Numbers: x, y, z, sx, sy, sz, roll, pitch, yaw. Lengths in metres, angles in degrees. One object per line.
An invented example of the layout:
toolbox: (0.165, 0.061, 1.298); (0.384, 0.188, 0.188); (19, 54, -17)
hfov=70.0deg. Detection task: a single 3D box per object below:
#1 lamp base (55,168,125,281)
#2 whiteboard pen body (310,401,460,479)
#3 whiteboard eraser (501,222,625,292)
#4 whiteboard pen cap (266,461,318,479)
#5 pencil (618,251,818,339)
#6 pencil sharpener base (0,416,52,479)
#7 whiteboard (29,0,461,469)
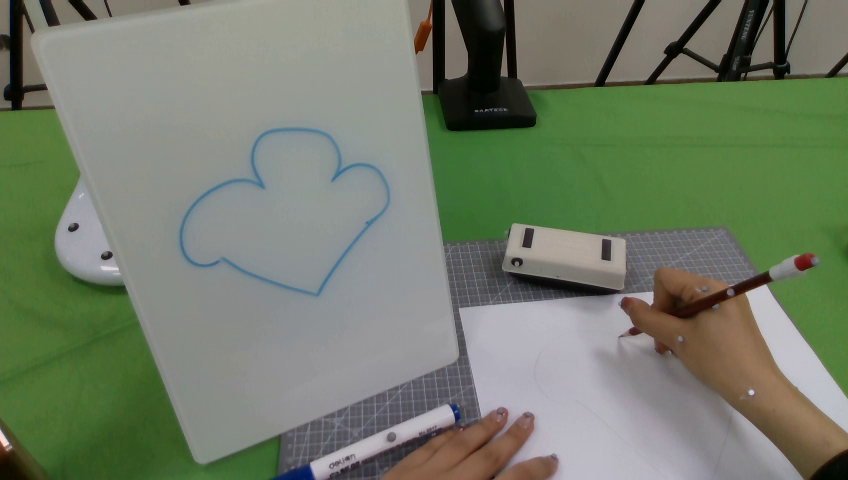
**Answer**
lamp base: (-0.298, -0.078, 0.574); (0.178, 0.182, 0.160); (25, 47, 28)
whiteboard pen body: (-0.038, 0.149, 0.439); (0.141, 0.017, 0.017); (-18, 45, -18)
whiteboard eraser: (0.133, 0.017, 0.578); (0.112, 0.042, 0.055); (9, 43, 9)
whiteboard pen cap: (-0.091, 0.166, 0.420); (0.033, 0.018, 0.018); (-19, 45, -19)
pencil: (0.202, 0.048, 0.447); (0.012, 0.194, 0.012); (8, 64, -17)
pencil sharpener base: (-0.277, 0.158, 0.366); (0.061, 0.108, 0.076); (32, 51, 30)
whiteboard: (-0.114, -0.025, 0.469); (0.218, 0.307, 0.142); (-18, 26, -18)
